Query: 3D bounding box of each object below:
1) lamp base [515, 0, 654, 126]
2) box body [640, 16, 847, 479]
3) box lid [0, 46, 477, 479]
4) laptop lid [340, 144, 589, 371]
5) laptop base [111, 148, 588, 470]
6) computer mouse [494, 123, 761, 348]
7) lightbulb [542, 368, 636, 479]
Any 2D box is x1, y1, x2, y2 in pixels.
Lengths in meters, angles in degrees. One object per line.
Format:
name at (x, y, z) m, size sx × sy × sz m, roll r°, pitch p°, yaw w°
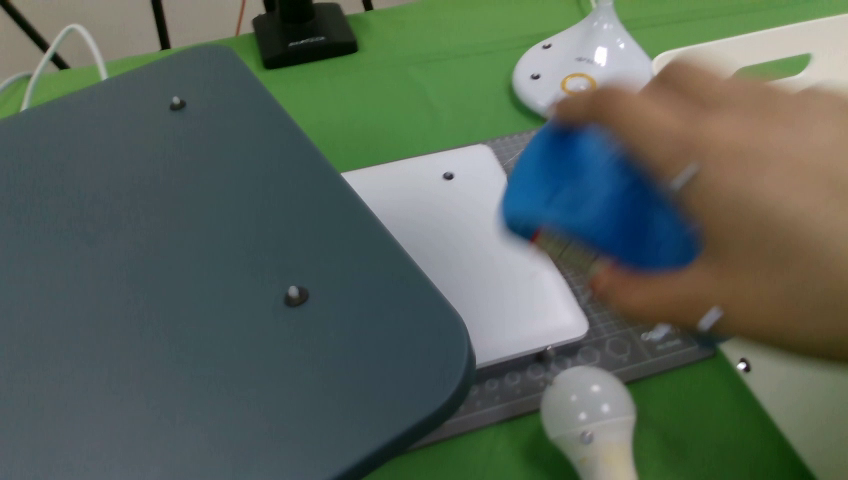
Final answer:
lamp base at (0.183, -0.241, 0.635) m, size 0.160 × 0.182 × 0.178 m, roll 11°, pitch 47°, yaw 14°
box body at (0.333, 0.015, 0.408) m, size 0.254 × 0.162 × 0.360 m, roll -14°, pitch 49°, yaw -9°
box lid at (-0.171, 0.009, 0.312) m, size 0.263 × 0.015 × 0.367 m, roll -28°, pitch 47°, yaw -16°
laptop lid at (-0.072, 0.029, 0.498) m, size 0.357 × 0.013 × 0.239 m, roll -12°, pitch 51°, yaw -8°
laptop base at (-0.072, 0.035, 0.509) m, size 0.355 × 0.023 × 0.233 m, roll -14°, pitch 52°, yaw -9°
computer mouse at (0.090, -0.006, 0.260) m, size 0.117 × 0.041 × 0.062 m, roll 30°, pitch 64°, yaw 4°
lightbulb at (0.112, 0.135, 0.389) m, size 0.059 × 0.060 × 0.106 m, roll -11°, pitch 64°, yaw -6°
